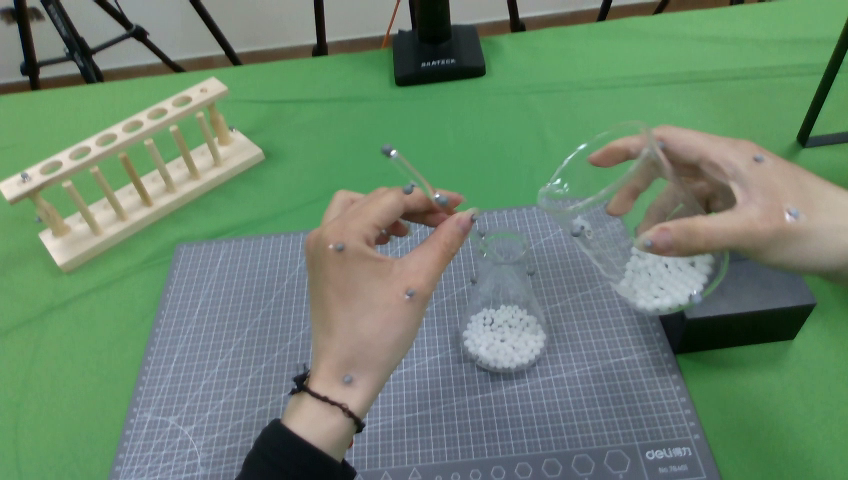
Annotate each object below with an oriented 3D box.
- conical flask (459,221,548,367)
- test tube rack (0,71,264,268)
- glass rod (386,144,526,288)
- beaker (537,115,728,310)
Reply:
[{"bbox_3d":[0.061,0.039,0.471,0.075,0.123,0.074,-4,49,4],"label":"conical flask"},{"bbox_3d":[-0.303,-0.081,0.652,0.242,0.086,0.066,-36,54,-23],"label":"test tube rack"},{"bbox_3d":[0.029,-0.006,0.396,0.008,0.202,0.008,-14,58,25],"label":"glass rod"},{"bbox_3d":[0.126,-0.012,0.368,0.074,0.101,0.083,-52,21,-21],"label":"beaker"}]
